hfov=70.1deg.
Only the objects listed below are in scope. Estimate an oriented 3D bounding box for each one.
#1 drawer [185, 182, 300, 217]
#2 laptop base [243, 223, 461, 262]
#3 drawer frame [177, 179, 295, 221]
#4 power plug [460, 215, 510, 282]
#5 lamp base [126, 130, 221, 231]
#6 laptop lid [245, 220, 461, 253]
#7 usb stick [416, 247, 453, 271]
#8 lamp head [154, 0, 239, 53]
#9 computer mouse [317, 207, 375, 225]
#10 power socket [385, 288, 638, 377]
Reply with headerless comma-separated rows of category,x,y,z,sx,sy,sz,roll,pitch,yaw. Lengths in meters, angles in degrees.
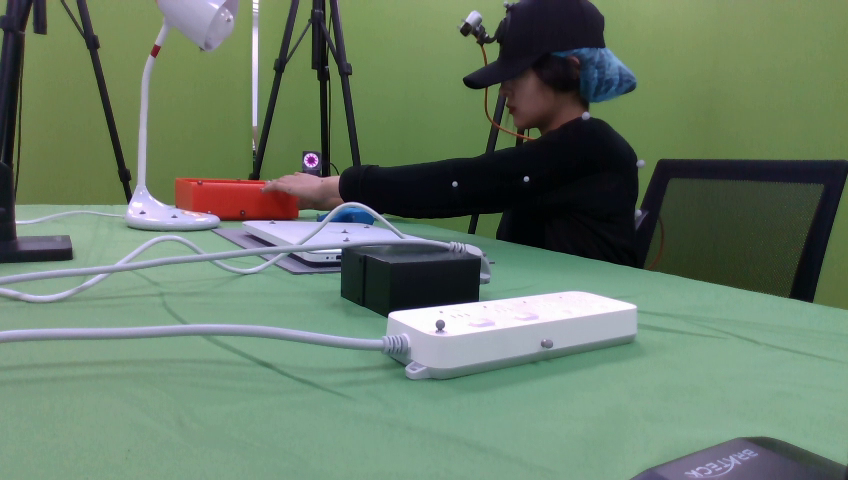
drawer,-0.410,-0.092,1.361,0.213,0.073,0.193,-3,9,-32
laptop base,-0.126,0.003,0.945,0.237,0.023,0.352,2,6,-31
drawer frame,-0.422,-0.092,1.352,0.215,0.082,0.200,-3,10,-32
power plug,0.064,0.011,0.624,0.053,0.072,0.035,-3,39,-3
lamp base,-0.469,-0.112,1.108,0.179,0.180,0.160,0,7,3
laptop lid,-0.124,-0.009,0.945,0.243,0.013,0.355,1,7,-29
usb stick,0.010,0.024,0.755,0.027,0.021,0.059,38,-18,-16
lamp head,-0.406,-0.402,1.059,0.123,0.112,0.112,25,5,-6
computer mouse,-0.163,-0.047,1.263,0.118,0.041,0.062,-6,13,-28
power socket,0.074,0.064,0.462,0.228,0.032,0.072,-3,8,-34
